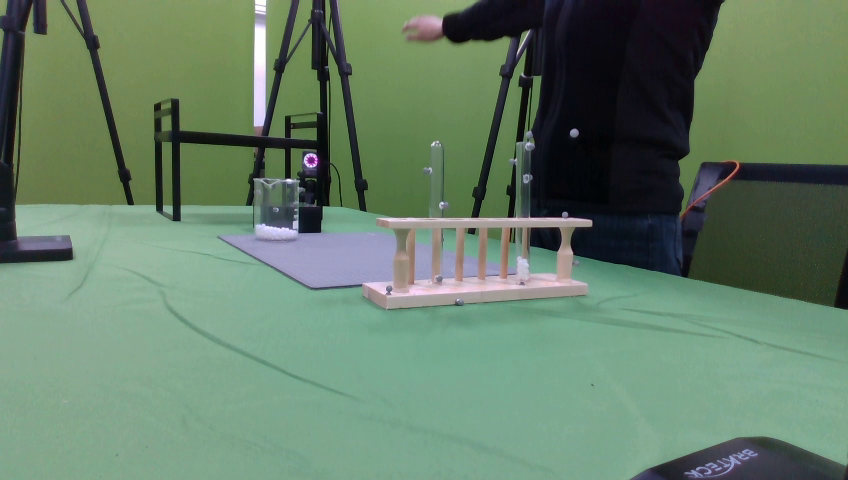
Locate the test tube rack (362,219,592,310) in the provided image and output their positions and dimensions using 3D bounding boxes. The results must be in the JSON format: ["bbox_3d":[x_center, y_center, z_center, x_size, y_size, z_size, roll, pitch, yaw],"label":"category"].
[{"bbox_3d":[0.060,0.019,0.640,0.243,0.085,0.066,-1,8,-27],"label":"test tube rack"}]

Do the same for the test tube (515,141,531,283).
[{"bbox_3d":[0.104,-0.028,0.636,0.017,0.150,0.017,-1,12,1],"label":"test tube"}]

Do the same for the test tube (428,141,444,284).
[{"bbox_3d":[0.013,-0.027,0.629,0.017,0.150,0.017,1,8,0],"label":"test tube"}]

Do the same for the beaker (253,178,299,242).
[{"bbox_3d":[-0.243,-0.050,0.990,0.074,0.100,0.084,2,9,1],"label":"beaker"}]
